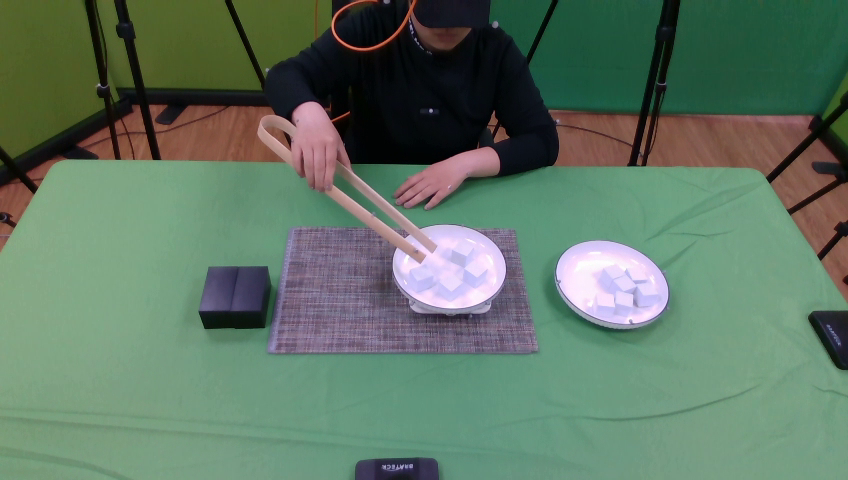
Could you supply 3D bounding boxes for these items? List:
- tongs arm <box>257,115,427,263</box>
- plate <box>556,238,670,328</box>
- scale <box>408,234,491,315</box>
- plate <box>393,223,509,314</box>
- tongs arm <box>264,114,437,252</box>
[{"bbox_3d":[-0.145,-0.092,1.064,0.384,0.026,0.050,36,45,4],"label":"tongs arm"},{"bbox_3d":[0.347,0.083,1.130,0.209,0.038,0.208,2,47,-2],"label":"plate"},{"bbox_3d":[0.045,0.055,1.135,0.149,0.032,0.199,1,46,-3],"label":"scale"},{"bbox_3d":[0.048,0.053,1.091,0.208,0.039,0.206,1,46,-1],"label":"plate"},{"bbox_3d":[-0.132,-0.104,1.082,0.387,0.028,0.028,39,49,6],"label":"tongs arm"}]
